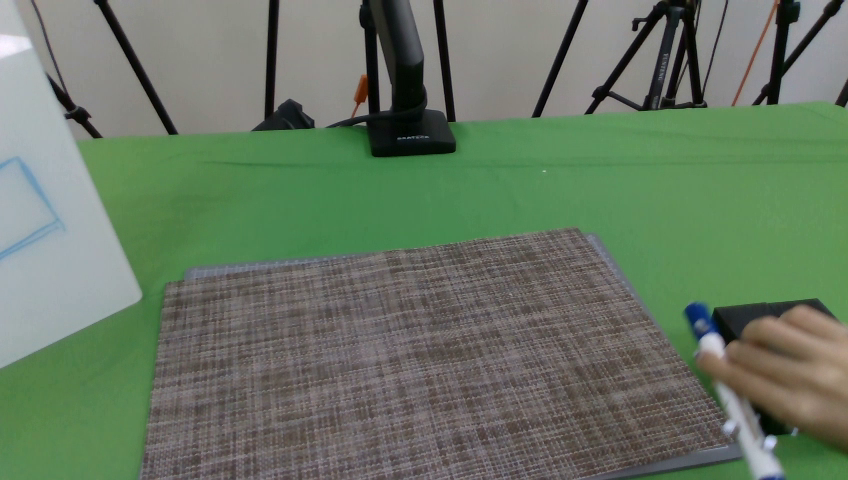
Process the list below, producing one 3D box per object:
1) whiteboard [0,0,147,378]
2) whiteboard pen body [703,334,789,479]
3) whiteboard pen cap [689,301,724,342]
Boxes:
[{"bbox_3d":[-0.423,-0.039,0.518,0.217,0.307,0.142,-30,27,-35],"label":"whiteboard"},{"bbox_3d":[0.201,0.099,0.391,0.017,0.017,0.139,3,38,2],"label":"whiteboard pen body"},{"bbox_3d":[0.204,0.061,0.439,0.018,0.018,0.033,3,40,3],"label":"whiteboard pen cap"}]
